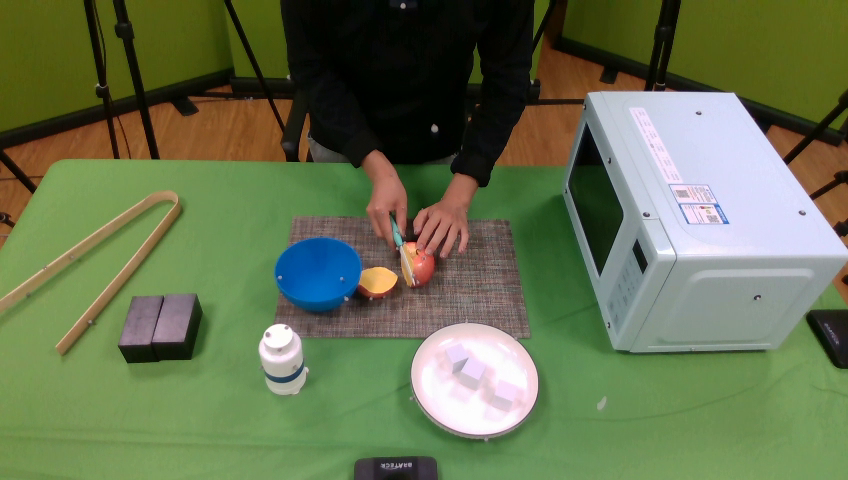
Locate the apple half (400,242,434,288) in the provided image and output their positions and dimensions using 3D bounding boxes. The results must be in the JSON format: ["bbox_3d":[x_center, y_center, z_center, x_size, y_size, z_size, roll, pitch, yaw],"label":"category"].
[{"bbox_3d":[-0.010,0.046,1.116,0.053,0.075,0.080,-6,42,-20],"label":"apple half"}]

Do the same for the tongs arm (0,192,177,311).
[{"bbox_3d":[-0.618,0.019,1.123,0.050,0.026,0.384,23,47,17],"label":"tongs arm"}]

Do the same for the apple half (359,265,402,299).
[{"bbox_3d":[-0.078,0.080,1.095,0.081,0.033,0.081,7,41,-6],"label":"apple half"}]

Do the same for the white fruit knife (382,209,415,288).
[{"bbox_3d":[-0.047,0.011,1.131,0.016,0.027,0.206,-9,48,-17],"label":"white fruit knife"}]

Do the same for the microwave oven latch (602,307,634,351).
[{"bbox_3d":[0.332,0.153,1.044,0.030,0.029,0.078,-1,45,-4],"label":"microwave oven latch"}]

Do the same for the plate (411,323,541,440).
[{"bbox_3d":[0.082,0.228,0.976,0.208,0.039,0.206,2,45,-2],"label":"plate"}]

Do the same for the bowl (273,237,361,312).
[{"bbox_3d":[-0.186,0.074,1.069,0.151,0.077,0.150,3,46,-3],"label":"bowl"}]

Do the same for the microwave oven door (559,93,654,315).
[{"bbox_3d":[0.327,-0.074,1.123,0.039,0.245,0.353,-1,46,-5],"label":"microwave oven door"}]

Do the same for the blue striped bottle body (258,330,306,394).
[{"bbox_3d":[-0.220,0.182,0.937,0.063,0.121,0.062,2,46,-2],"label":"blue striped bottle body"}]

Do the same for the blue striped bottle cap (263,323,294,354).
[{"bbox_3d":[-0.217,0.146,0.901,0.044,0.021,0.044,1,46,-1],"label":"blue striped bottle cap"}]

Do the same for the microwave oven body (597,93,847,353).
[{"bbox_3d":[0.475,-0.041,1.109,0.326,0.261,0.438,-1,45,-4],"label":"microwave oven body"}]

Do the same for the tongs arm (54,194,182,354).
[{"bbox_3d":[-0.543,0.048,1.107,0.028,0.028,0.385,11,45,10],"label":"tongs arm"}]
